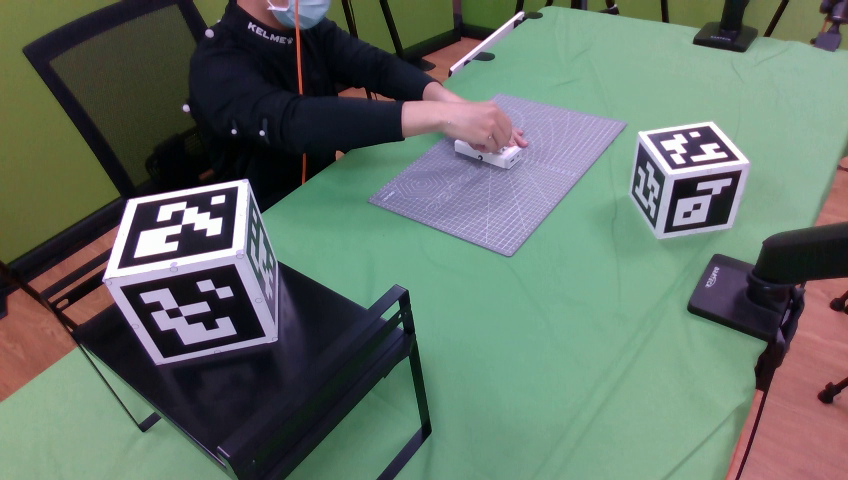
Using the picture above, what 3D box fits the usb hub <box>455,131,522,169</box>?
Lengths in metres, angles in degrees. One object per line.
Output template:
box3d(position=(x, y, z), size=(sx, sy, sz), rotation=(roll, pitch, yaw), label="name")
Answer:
box3d(position=(0.122, -0.171, 1.146), size=(0.124, 0.025, 0.049), rotation=(25, 49, 31), label="usb hub")

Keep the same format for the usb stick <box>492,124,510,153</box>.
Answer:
box3d(position=(0.143, -0.181, 1.107), size=(0.021, 0.059, 0.027), rotation=(14, 43, 34), label="usb stick")
